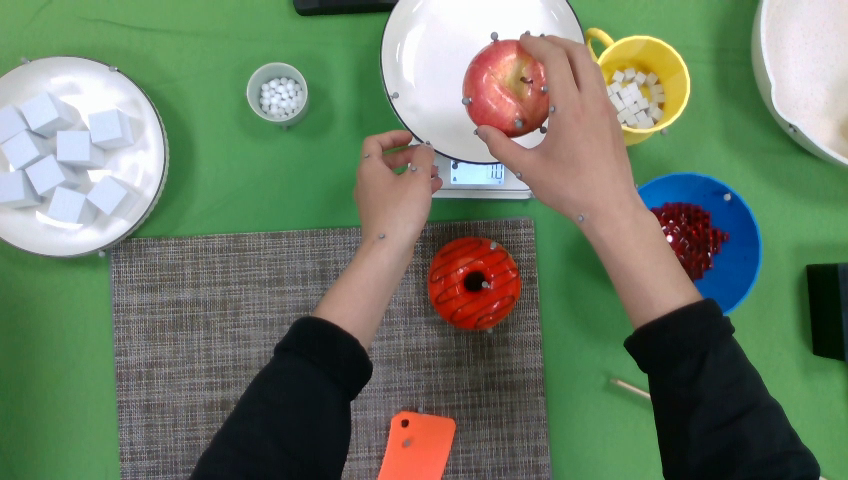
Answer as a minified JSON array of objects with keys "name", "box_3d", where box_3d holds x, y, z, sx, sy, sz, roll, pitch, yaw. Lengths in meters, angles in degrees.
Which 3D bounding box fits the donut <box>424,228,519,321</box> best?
[{"name":"donut","box_3d":[0.048,0.036,0.631,0.099,0.048,0.099,0,90,0]}]

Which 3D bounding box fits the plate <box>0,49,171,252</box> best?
[{"name":"plate","box_3d":[-0.364,-0.090,0.626,0.208,0.039,0.207,0,88,-2]}]

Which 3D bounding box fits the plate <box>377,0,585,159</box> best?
[{"name":"plate","box_3d":[0.056,-0.184,0.614,0.209,0.038,0.209,0,88,-3]}]

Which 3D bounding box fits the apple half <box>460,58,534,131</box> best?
[{"name":"apple half","box_3d":[0.053,-0.115,0.515,0.081,0.081,0.033,43,87,0]}]

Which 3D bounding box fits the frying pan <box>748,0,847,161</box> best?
[{"name":"frying pan","box_3d":[0.532,-0.127,0.625,0.307,0.103,0.486,-30,81,-2]}]

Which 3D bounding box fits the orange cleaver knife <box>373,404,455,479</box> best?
[{"name":"orange cleaver knife","box_3d":[-0.035,0.269,0.631,0.077,0.012,0.211,26,85,-7]}]

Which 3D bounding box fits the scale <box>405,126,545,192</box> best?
[{"name":"scale","box_3d":[0.056,-0.153,0.646,0.149,0.031,0.200,1,89,-2]}]

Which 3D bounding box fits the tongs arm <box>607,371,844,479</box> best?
[{"name":"tongs arm","box_3d":[0.368,0.231,0.645,0.388,0.028,0.028,27,80,-1]}]

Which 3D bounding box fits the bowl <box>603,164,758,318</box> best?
[{"name":"bowl","box_3d":[0.250,0.002,0.625,0.151,0.077,0.151,0,89,-2]}]

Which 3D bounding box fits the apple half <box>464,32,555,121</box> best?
[{"name":"apple half","box_3d":[0.079,-0.144,0.516,0.081,0.074,0.053,42,87,-3]}]

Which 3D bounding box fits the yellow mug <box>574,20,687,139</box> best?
[{"name":"yellow mug","box_3d":[0.204,-0.174,0.634,0.100,0.064,0.131,-36,89,-2]}]

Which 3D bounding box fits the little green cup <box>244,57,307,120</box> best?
[{"name":"little green cup","box_3d":[-0.152,-0.156,0.635,0.061,0.038,0.061,0,88,-1]}]
